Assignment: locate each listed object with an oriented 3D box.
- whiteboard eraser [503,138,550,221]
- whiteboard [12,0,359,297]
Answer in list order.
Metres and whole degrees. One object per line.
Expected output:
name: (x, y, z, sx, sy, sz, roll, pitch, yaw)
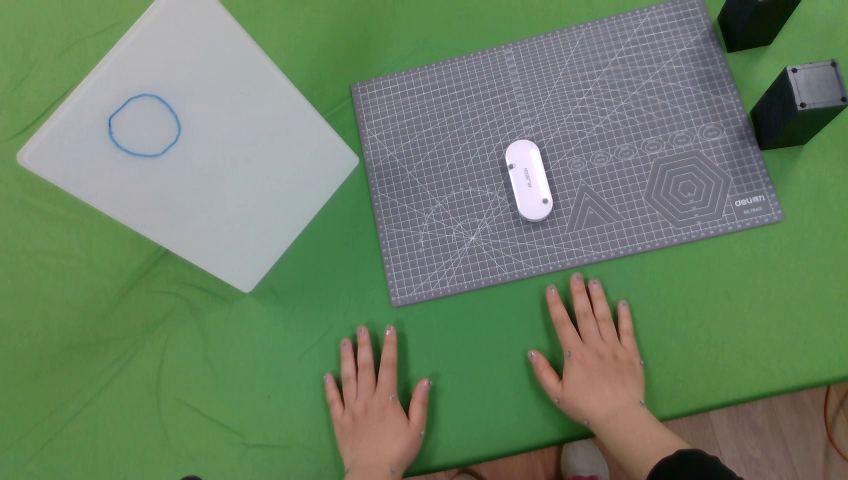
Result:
whiteboard eraser: (0.120, -0.072, 0.711, 0.041, 0.019, 0.100, -13, 76, 4)
whiteboard: (-0.253, -0.111, 0.662, 0.142, 0.309, 0.217, 35, 83, 35)
